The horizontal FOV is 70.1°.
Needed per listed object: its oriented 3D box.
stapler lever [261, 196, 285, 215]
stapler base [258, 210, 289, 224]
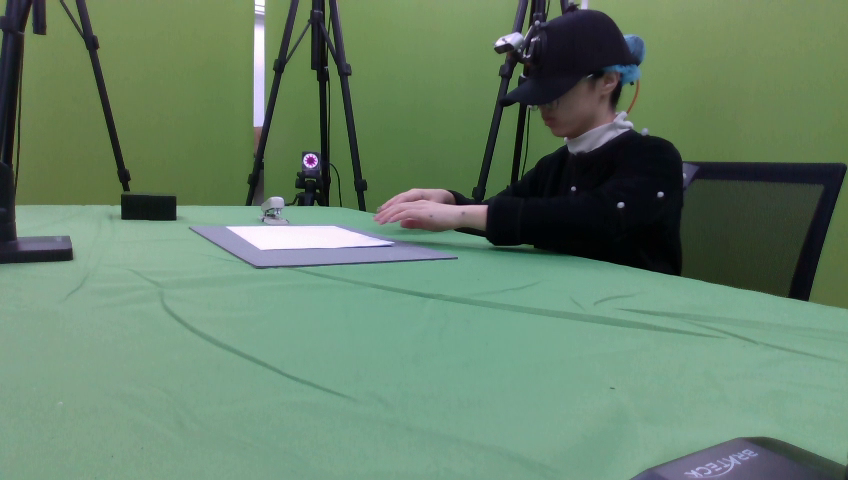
[{"bbox_3d":[-0.323,-0.076,1.293,0.027,0.040,0.117,1,6,-27],"label":"stapler lever"},{"bbox_3d":[-0.323,-0.052,1.295,0.041,0.024,0.130,1,5,-27],"label":"stapler base"}]
